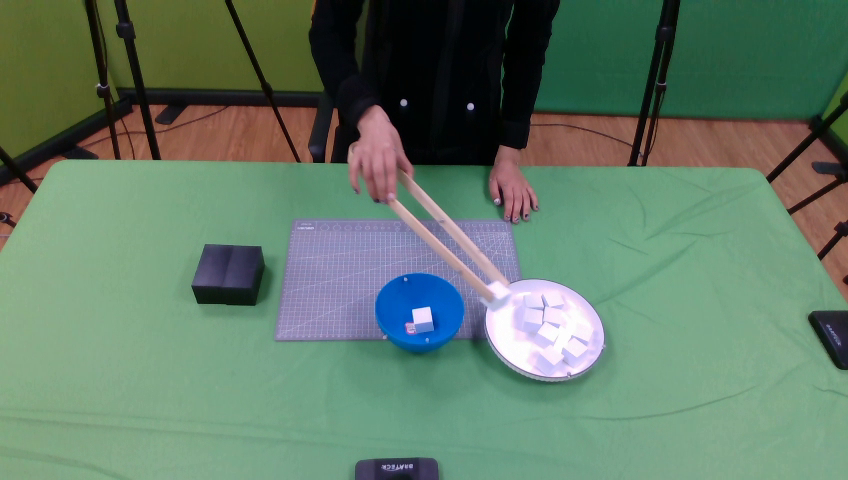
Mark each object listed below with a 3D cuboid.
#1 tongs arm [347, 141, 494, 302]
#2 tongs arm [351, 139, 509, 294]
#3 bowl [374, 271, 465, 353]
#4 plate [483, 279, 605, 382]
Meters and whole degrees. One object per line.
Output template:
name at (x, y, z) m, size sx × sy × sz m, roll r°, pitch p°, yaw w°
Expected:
tongs arm at (-0.018, -0.038, 0.995) m, size 0.028 × 0.028 × 0.385 m, roll -29°, pitch 61°, yaw -30°
tongs arm at (-0.001, -0.047, 1.008) m, size 0.051 × 0.026 × 0.382 m, roll -23°, pitch 58°, yaw -31°
bowl at (-0.009, 0.136, 1.024) m, size 0.151 × 0.077 × 0.150 m, roll 2°, pitch 47°, yaw -2°
plate at (0.204, 0.158, 1.046) m, size 0.208 × 0.039 × 0.206 m, roll 3°, pitch 47°, yaw -3°
